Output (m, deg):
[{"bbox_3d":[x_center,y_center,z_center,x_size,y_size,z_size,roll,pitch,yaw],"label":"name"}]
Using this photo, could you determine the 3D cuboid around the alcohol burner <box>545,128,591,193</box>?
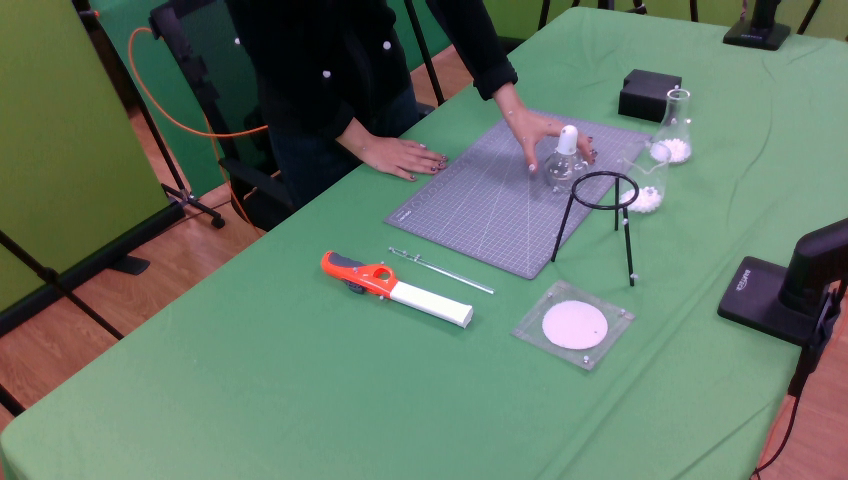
[{"bbox_3d":[0.245,-0.141,1.028,0.078,0.119,0.077,-5,42,5],"label":"alcohol burner"}]

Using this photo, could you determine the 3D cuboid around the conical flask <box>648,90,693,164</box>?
[{"bbox_3d":[0.437,-0.199,1.057,0.075,0.122,0.075,-5,40,5],"label":"conical flask"}]

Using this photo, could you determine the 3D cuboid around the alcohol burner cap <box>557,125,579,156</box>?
[{"bbox_3d":[0.241,-0.167,1.004,0.034,0.048,0.033,0,40,1],"label":"alcohol burner cap"}]

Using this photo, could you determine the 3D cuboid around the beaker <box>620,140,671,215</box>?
[{"bbox_3d":[0.352,-0.096,0.971,0.074,0.101,0.084,1,42,13],"label":"beaker"}]

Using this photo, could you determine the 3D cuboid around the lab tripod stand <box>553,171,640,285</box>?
[{"bbox_3d":[0.260,-0.025,0.877,0.148,0.132,0.147,-6,38,5],"label":"lab tripod stand"}]

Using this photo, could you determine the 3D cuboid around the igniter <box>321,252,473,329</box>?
[{"bbox_3d":[-0.051,0.071,0.906,0.274,0.025,0.057,18,57,29],"label":"igniter"}]

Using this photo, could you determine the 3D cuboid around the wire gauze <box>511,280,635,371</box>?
[{"bbox_3d":[0.203,0.114,0.822,0.120,0.011,0.125,25,52,35],"label":"wire gauze"}]

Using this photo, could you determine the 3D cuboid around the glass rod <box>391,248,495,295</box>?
[{"bbox_3d":[0.026,0.046,0.936,0.198,0.008,0.008,22,50,32],"label":"glass rod"}]
